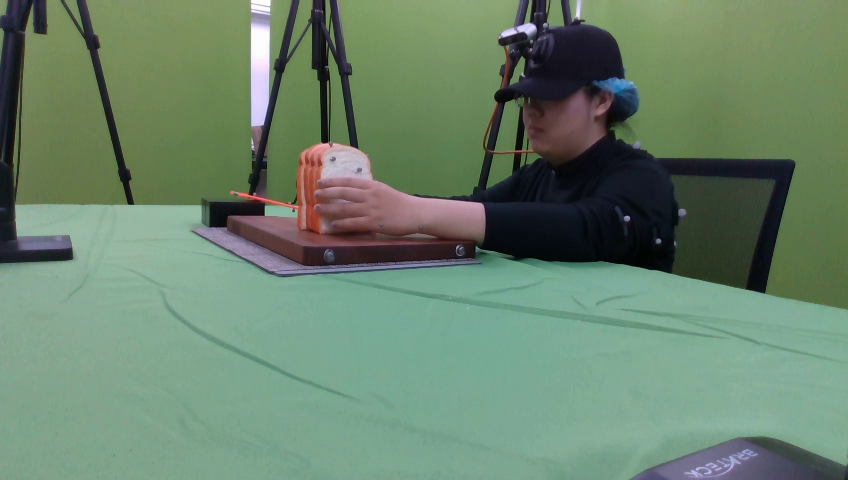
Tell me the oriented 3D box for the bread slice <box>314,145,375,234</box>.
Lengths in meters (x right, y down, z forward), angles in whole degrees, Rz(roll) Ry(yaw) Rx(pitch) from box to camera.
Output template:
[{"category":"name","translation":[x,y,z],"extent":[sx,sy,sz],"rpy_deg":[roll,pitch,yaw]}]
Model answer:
[{"category":"bread slice","translation":[-0.124,-0.076,0.919],"extent":[0.018,0.134,0.107],"rpy_deg":[3,8,45]}]

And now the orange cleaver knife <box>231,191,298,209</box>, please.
[{"category":"orange cleaver knife","translation":[-0.280,-0.071,1.221],"extent":[0.212,0.012,0.077],"rpy_deg":[13,-1,-25]}]

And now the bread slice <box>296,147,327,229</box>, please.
[{"category":"bread slice","translation":[-0.156,-0.082,0.958],"extent":[0.019,0.131,0.105],"rpy_deg":[-3,-2,45]}]
